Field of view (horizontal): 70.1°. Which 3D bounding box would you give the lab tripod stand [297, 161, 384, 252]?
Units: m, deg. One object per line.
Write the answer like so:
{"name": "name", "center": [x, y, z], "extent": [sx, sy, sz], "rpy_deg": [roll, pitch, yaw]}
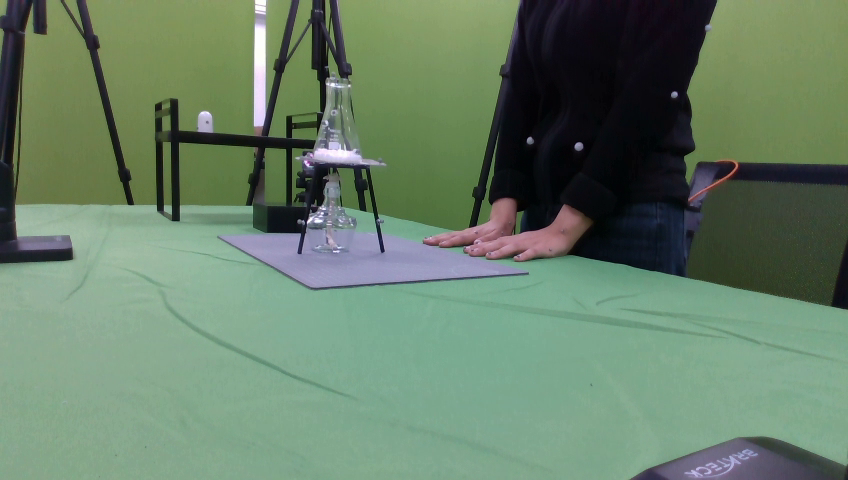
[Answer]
{"name": "lab tripod stand", "center": [-0.130, -0.051, 0.903], "extent": [0.148, 0.131, 0.148], "rpy_deg": [3, 9, 0]}

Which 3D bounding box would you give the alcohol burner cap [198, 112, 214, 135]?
{"name": "alcohol burner cap", "center": [-0.459, -0.246, 1.271], "extent": [0.034, 0.048, 0.034], "rpy_deg": [2, 6, 0]}

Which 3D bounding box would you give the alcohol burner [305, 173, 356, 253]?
{"name": "alcohol burner", "center": [-0.139, -0.041, 0.898], "extent": [0.078, 0.119, 0.078], "rpy_deg": [4, 8, 0]}

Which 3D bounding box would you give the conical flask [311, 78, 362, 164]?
{"name": "conical flask", "center": [-0.128, -0.174, 0.890], "extent": [0.075, 0.122, 0.075], "rpy_deg": [3, 9, 0]}

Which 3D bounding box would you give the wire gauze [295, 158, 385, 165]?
{"name": "wire gauze", "center": [-0.128, -0.117, 0.901], "extent": [0.125, 0.011, 0.121], "rpy_deg": [-2, 8, -14]}
